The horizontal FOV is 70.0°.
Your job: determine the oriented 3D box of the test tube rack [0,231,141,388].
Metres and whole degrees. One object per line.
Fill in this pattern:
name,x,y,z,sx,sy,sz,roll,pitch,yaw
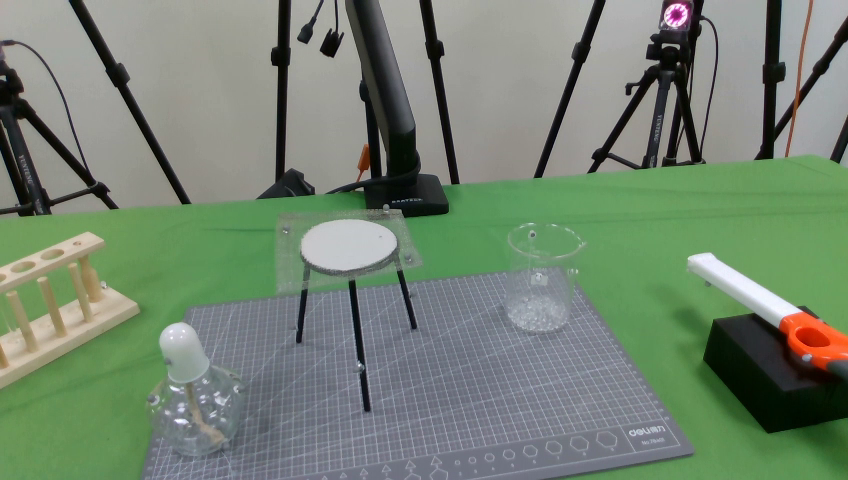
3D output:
test tube rack,-0.416,0.085,0.593,0.066,0.086,0.242,20,36,31

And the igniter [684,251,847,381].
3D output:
igniter,0.340,0.079,0.551,0.057,0.025,0.273,-10,28,-16

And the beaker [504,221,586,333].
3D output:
beaker,0.124,0.040,0.637,0.084,0.101,0.073,-2,31,-2

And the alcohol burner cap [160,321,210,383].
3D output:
alcohol burner cap,-0.192,0.086,0.480,0.034,0.048,0.033,-1,35,1

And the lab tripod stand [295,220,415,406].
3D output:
lab tripod stand,-0.065,0.060,0.574,0.148,0.132,0.147,1,31,0

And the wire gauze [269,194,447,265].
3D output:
wire gauze,-0.061,-0.010,0.528,0.125,0.011,0.120,-10,27,-30

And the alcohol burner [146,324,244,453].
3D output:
alcohol burner,-0.191,0.117,0.499,0.078,0.120,0.077,1,30,0

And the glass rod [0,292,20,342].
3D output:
glass rod,-0.413,0.021,0.570,0.008,0.201,0.008,3,32,-2
